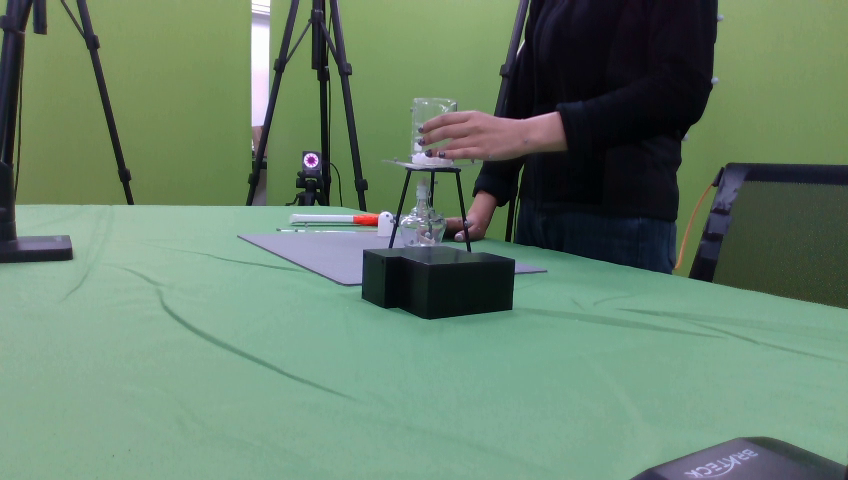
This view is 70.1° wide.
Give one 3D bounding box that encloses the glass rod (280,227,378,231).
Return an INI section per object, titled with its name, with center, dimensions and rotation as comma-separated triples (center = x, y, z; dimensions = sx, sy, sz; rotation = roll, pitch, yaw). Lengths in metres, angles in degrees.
[glass rod]
center = -0.175, -0.021, 1.161
dimensions = 0.200, 0.008, 0.008
rotation = 0, 7, -15

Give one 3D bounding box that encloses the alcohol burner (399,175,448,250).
[alcohol burner]
center = -0.001, -0.044, 0.962
dimensions = 0.078, 0.119, 0.078
rotation = 0, 8, 0

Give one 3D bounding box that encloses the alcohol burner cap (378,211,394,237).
[alcohol burner cap]
center = -0.069, -0.030, 1.112
dimensions = 0.034, 0.048, 0.034
rotation = 1, 9, 0

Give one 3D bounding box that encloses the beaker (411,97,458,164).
[beaker]
center = 0.017, -0.171, 0.950
dimensions = 0.073, 0.100, 0.084
rotation = 7, 10, 27

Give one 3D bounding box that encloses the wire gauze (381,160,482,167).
[wire gauze]
center = 0.011, -0.120, 0.951
dimensions = 0.122, 0.011, 0.124
rotation = -4, 9, -32

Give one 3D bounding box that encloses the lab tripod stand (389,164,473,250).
[lab tripod stand]
center = 0.011, -0.054, 0.961
dimensions = 0.148, 0.131, 0.148
rotation = 2, 9, 0

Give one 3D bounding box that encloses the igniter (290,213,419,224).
[igniter]
center = -0.143, -0.046, 1.288
dimensions = 0.278, 0.025, 0.057
rotation = -1, -3, -24
